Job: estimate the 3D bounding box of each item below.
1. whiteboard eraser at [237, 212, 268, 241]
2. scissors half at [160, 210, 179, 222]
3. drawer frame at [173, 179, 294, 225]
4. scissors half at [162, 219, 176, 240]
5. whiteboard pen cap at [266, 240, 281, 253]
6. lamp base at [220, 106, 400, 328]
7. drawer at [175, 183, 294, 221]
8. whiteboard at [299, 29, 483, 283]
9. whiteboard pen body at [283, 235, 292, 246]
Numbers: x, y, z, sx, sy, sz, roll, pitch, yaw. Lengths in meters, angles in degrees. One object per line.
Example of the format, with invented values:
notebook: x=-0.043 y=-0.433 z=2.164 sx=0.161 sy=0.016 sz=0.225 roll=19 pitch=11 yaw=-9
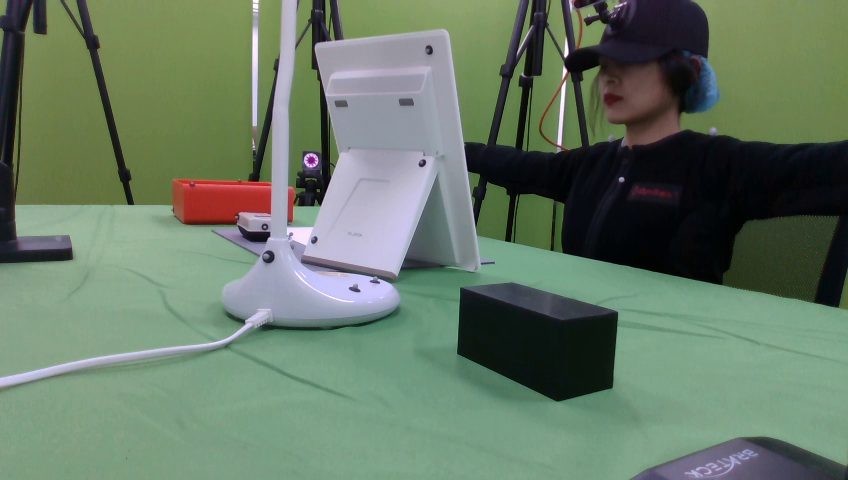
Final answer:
whiteboard eraser: x=-0.272 y=-0.023 z=0.998 sx=0.056 sy=0.042 sz=0.112 roll=-3 pitch=9 yaw=-26
scissors half: x=-0.506 y=-0.066 z=1.256 sx=0.013 sy=0.040 sz=0.175 roll=3 pitch=21 yaw=3
drawer frame: x=-0.404 y=-0.083 z=1.277 sx=0.215 sy=0.082 sz=0.200 roll=-2 pitch=9 yaw=-29
scissors half: x=-0.507 y=-0.055 z=1.262 sx=0.013 sy=0.040 sz=0.175 roll=10 pitch=38 yaw=2
whiteboard pen cap: x=-0.202 y=0.009 z=0.813 sx=0.018 sy=0.018 sz=0.033 roll=1 pitch=3 yaw=-8
lamp base: x=-0.101 y=-0.023 z=0.531 sx=0.160 sy=0.180 sz=0.179 roll=4 pitch=10 yaw=10
drawer: x=-0.402 y=-0.082 z=1.279 sx=0.213 sy=0.073 sz=0.193 roll=-2 pitch=10 yaw=-28
whiteboard: x=-0.074 y=-0.082 z=0.742 sx=0.216 sy=0.305 sz=0.144 roll=9 pitch=29 yaw=38
whiteboard pen body: x=-0.206 y=0.005 z=0.872 sx=0.017 sy=0.017 sz=0.140 roll=2 pitch=4 yaw=-6
